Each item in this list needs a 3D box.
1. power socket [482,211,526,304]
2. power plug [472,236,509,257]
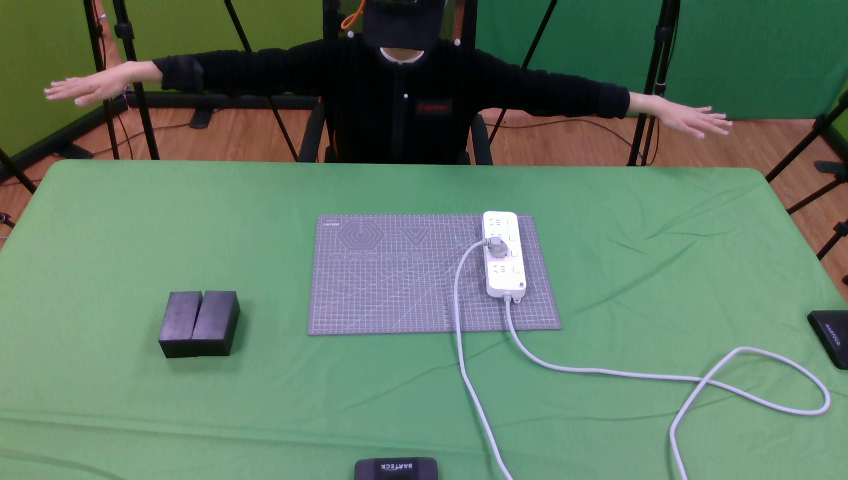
[{"bbox_3d":[0.153,0.025,1.174,0.072,0.033,0.225,1,46,0],"label":"power socket"},{"bbox_3d":[0.126,0.013,1.149,0.072,0.053,0.035,12,46,5],"label":"power plug"}]
